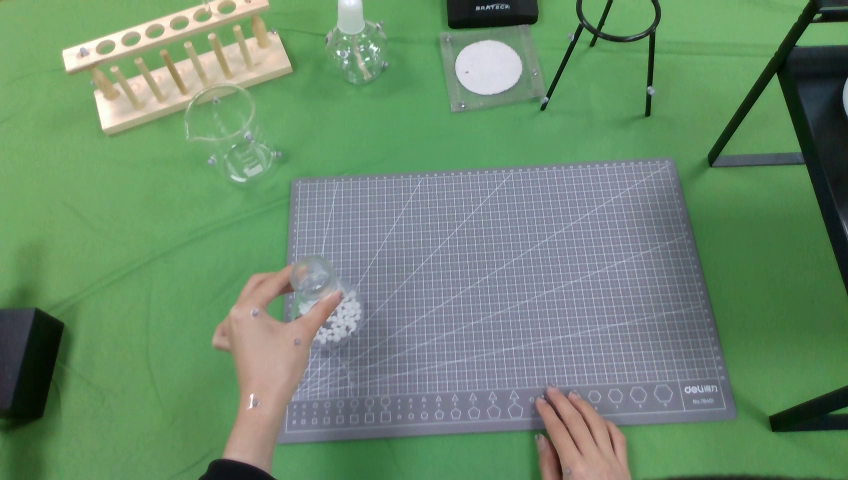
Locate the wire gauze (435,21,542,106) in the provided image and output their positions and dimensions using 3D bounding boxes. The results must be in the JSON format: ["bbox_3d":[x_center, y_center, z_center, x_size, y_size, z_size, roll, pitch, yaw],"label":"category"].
[{"bbox_3d":[0.081,-0.230,0.775,0.121,0.011,0.124,-7,65,-3],"label":"wire gauze"}]

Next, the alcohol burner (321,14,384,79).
[{"bbox_3d":[-0.089,-0.254,0.734,0.078,0.120,0.077,0,63,1],"label":"alcohol burner"}]

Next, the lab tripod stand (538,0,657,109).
[{"bbox_3d":[0.208,-0.224,0.700,0.148,0.132,0.147,0,65,0],"label":"lab tripod stand"}]

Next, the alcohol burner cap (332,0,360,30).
[{"bbox_3d":[-0.090,-0.271,0.701,0.034,0.048,0.033,3,64,-6],"label":"alcohol burner cap"}]

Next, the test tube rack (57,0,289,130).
[{"bbox_3d":[-0.299,-0.224,0.741,0.242,0.086,0.066,-21,67,-8],"label":"test tube rack"}]

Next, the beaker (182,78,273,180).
[{"bbox_3d":[-0.219,-0.119,0.684,0.084,0.101,0.073,-43,70,-16],"label":"beaker"}]

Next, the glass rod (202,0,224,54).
[{"bbox_3d":[-0.255,-0.286,0.695,0.008,0.201,0.008,1,64,-2],"label":"glass rod"}]

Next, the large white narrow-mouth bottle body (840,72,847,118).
[{"bbox_3d":[0.400,-0.155,0.433,0.102,0.196,0.101,0,64,1],"label":"large white narrow-mouth bottle body"}]

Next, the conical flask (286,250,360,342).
[{"bbox_3d":[-0.102,0.048,0.577,0.075,0.122,0.075,1,67,-2],"label":"conical flask"}]
